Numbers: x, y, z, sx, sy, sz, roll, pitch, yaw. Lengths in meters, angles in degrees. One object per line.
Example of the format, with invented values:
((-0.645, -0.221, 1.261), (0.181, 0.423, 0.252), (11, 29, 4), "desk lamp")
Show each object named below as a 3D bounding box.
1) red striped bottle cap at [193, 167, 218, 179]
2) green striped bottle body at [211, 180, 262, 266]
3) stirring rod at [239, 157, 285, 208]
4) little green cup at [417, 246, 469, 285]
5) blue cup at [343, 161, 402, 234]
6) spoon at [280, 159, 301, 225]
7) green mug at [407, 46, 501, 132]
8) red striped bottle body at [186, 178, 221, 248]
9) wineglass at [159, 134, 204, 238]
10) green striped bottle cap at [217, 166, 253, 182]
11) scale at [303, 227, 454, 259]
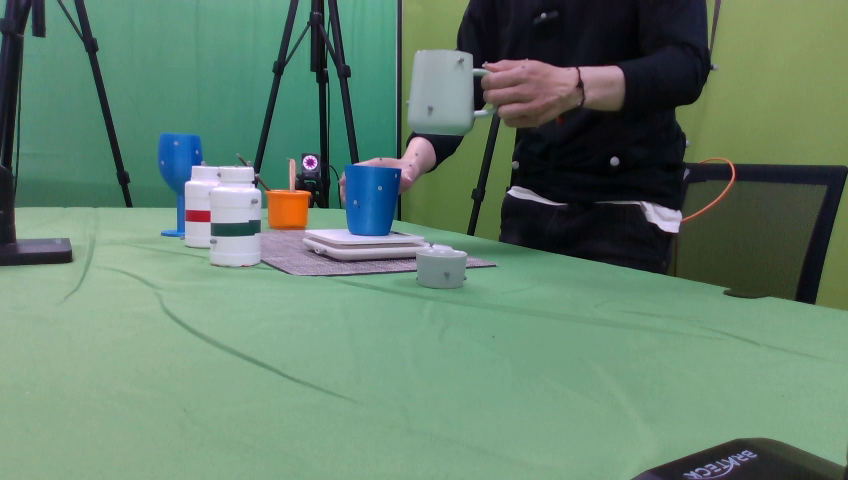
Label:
((-0.329, -0.103, 0.921), (0.044, 0.017, 0.044), (0, 9, 0), "red striped bottle cap")
((-0.243, -0.029, 0.784), (0.063, 0.119, 0.063), (2, 7, 0), "green striped bottle body")
((-0.309, -0.099, 1.209), (0.006, 0.177, 0.014), (-38, 29, -2), "stirring rod")
((0.021, 0.029, 0.701), (0.061, 0.038, 0.061), (1, 6, 0), "little green cup")
((-0.078, -0.062, 0.884), (0.093, 0.100, 0.092), (4, 6, 0), "blue cup")
((-0.273, -0.102, 1.252), (0.042, 0.193, 0.021), (7, -38, -17), "spoon")
((0.041, -0.200, 0.813), (0.125, 0.105, 0.092), (2, 9, 3), "green mug")
((-0.331, -0.050, 0.927), (0.063, 0.119, 0.063), (2, 6, 0), "red striped bottle body")
((-0.415, -0.093, 1.040), (0.074, 0.172, 0.073), (2, 7, 0), "wineglass")
((-0.242, -0.085, 0.776), (0.044, 0.020, 0.044), (2, 8, 0), "green striped bottle cap")
((-0.066, 0.001, 0.906), (0.202, 0.031, 0.148), (-2, 8, -31), "scale")
